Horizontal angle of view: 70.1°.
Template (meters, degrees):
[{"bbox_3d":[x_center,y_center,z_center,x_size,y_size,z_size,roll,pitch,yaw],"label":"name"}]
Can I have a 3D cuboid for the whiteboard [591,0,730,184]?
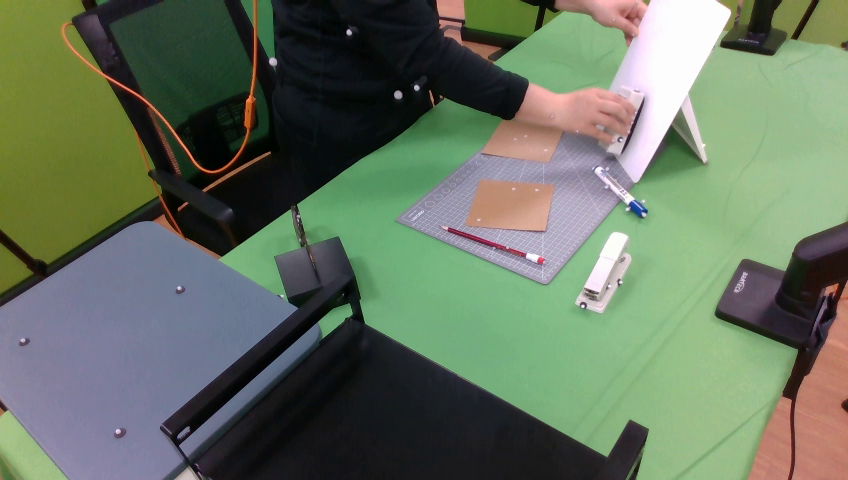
[{"bbox_3d":[0.452,-0.270,1.055,0.144,0.305,0.216,7,37,-14],"label":"whiteboard"}]

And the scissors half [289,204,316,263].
[{"bbox_3d":[-0.189,-0.011,0.944,0.013,0.040,0.173,-15,37,-17],"label":"scissors half"}]

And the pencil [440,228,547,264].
[{"bbox_3d":[0.106,0.007,0.957,0.192,0.012,0.012,18,46,30],"label":"pencil"}]

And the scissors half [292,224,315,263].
[{"bbox_3d":[-0.187,0.007,0.954,0.013,0.040,0.174,-20,21,-14],"label":"scissors half"}]

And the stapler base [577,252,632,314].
[{"bbox_3d":[0.264,0.051,0.875,0.041,0.024,0.131,16,47,30],"label":"stapler base"}]

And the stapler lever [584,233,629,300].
[{"bbox_3d":[0.261,0.034,0.858,0.026,0.040,0.118,16,45,30],"label":"stapler lever"}]

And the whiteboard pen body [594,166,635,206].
[{"bbox_3d":[0.331,-0.085,1.027,0.017,0.017,0.139,-17,42,-10],"label":"whiteboard pen body"}]

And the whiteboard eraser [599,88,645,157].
[{"bbox_3d":[0.352,-0.207,1.070,0.042,0.113,0.055,9,24,-13],"label":"whiteboard eraser"}]

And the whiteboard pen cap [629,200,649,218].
[{"bbox_3d":[0.348,-0.051,0.983,0.018,0.018,0.033,-18,41,-12],"label":"whiteboard pen cap"}]

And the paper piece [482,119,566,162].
[{"bbox_3d":[0.198,-0.198,1.188,0.135,0.004,0.135,11,45,21],"label":"paper piece"}]

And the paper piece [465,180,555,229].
[{"bbox_3d":[0.150,-0.062,1.034,0.137,0.009,0.136,5,37,16],"label":"paper piece"}]

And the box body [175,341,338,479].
[{"bbox_3d":[-0.311,0.165,0.719,0.361,0.161,0.255,23,49,32],"label":"box body"}]

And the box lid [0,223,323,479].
[{"bbox_3d":[-0.318,0.109,0.671,0.368,0.015,0.264,24,49,32],"label":"box lid"}]
